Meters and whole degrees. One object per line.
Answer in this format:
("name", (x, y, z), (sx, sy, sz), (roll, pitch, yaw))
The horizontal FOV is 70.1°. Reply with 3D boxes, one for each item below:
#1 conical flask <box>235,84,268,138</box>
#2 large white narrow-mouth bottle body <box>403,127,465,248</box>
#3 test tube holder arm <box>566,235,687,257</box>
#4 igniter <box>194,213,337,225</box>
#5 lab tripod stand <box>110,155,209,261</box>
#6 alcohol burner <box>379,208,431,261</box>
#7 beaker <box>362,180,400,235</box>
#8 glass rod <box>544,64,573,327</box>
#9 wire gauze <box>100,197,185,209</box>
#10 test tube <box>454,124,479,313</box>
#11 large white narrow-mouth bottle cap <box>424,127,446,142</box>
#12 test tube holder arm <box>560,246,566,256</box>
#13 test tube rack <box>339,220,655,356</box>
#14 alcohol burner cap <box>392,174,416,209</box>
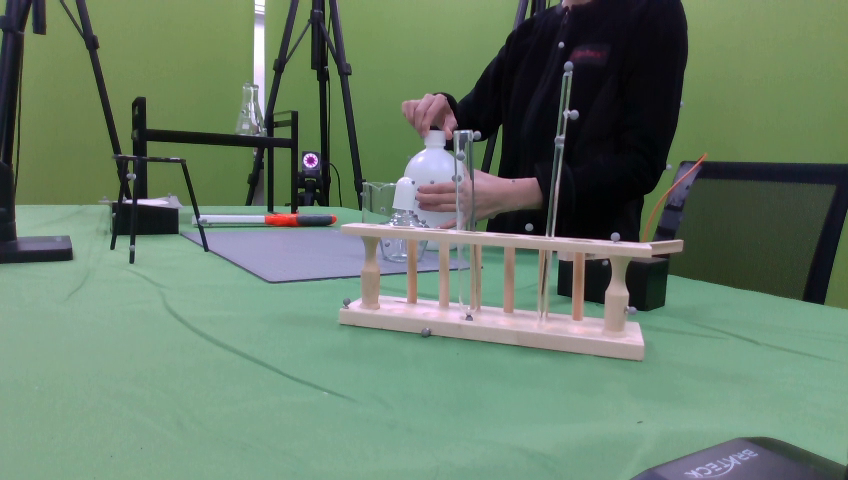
("conical flask", (-0.401, -0.299, 1.406), (0.075, 0.122, 0.075), (2, 7, 0))
("large white narrow-mouth bottle body", (0.017, -0.088, 0.998), (0.102, 0.194, 0.102), (1, 7, 0))
("test tube holder arm", (0.215, 0.006, 0.630), (0.179, 0.015, 0.013), (-3, 9, -31))
("igniter", (-0.306, -0.042, 1.196), (0.278, 0.025, 0.057), (-2, -2, -30))
("lab tripod stand", (-0.361, -0.046, 0.806), (0.148, 0.131, 0.148), (2, 5, 0))
("alcohol burner", (-0.027, -0.031, 0.838), (0.078, 0.119, 0.078), (0, 6, 0))
("beaker", (-0.081, -0.062, 1.142), (0.074, 0.100, 0.084), (2, 8, 1))
("glass rod", (0.101, -0.028, 0.453), (0.008, 0.199, 0.008), (1, 14, 0))
("wire gauze", (-0.469, -0.062, 1.008), (0.126, 0.011, 0.121), (-2, 8, -25))
("test tube", (0.034, -0.015, 0.477), (0.017, 0.150, 0.017), (-2, 9, 1))
("large white narrow-mouth bottle cap", (0.018, -0.172, 0.988), (0.038, 0.024, 0.037), (1, 7, 0))
("test tube holder arm", (0.173, 0.007, 0.611), (0.088, 0.015, 0.010), (-3, 9, -30))
("test tube rack", (0.056, 0.032, 0.495), (0.242, 0.085, 0.067), (4, 7, 15))
("alcohol burner cap", (-0.025, -0.067, 0.834), (0.034, 0.048, 0.034), (9, 7, -1))
